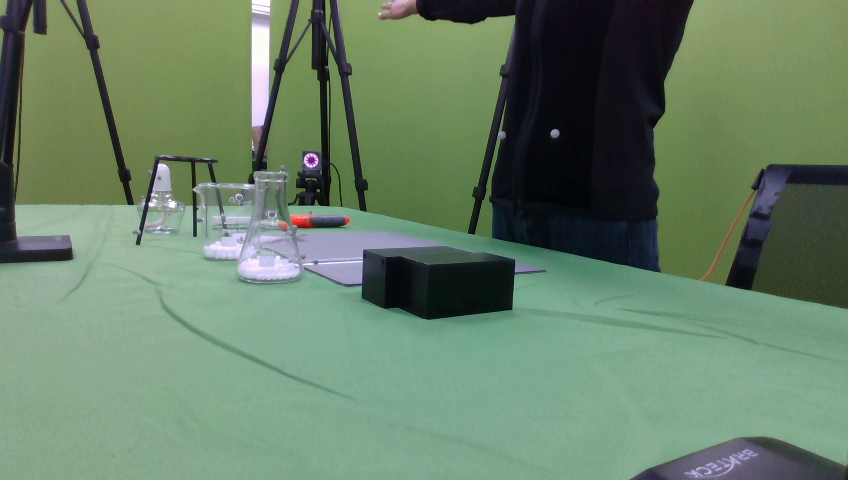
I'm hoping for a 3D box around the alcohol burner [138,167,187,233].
[{"bbox_3d":[-0.450,-0.070,1.044,0.078,0.119,0.078,5,7,0],"label":"alcohol burner"}]

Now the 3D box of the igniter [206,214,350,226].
[{"bbox_3d":[-0.279,-0.038,1.185,0.278,0.025,0.057,-2,-1,-30],"label":"igniter"}]

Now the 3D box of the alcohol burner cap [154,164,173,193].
[{"bbox_3d":[-0.450,-0.106,1.038,0.034,0.048,0.034,3,13,0],"label":"alcohol burner cap"}]

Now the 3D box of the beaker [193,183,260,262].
[{"bbox_3d":[-0.262,-0.025,0.806,0.084,0.100,0.073,-3,9,-30],"label":"beaker"}]

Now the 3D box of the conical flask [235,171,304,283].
[{"bbox_3d":[-0.172,-0.016,0.677,0.075,0.122,0.075,2,7,0],"label":"conical flask"}]

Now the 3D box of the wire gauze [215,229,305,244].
[{"bbox_3d":[-0.273,-0.009,1.013,0.122,0.011,0.124,-2,9,-33],"label":"wire gauze"}]

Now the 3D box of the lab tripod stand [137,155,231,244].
[{"bbox_3d":[-0.358,-0.062,0.927,0.148,0.131,0.148,4,6,0],"label":"lab tripod stand"}]

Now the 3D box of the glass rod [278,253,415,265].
[{"bbox_3d":[-0.097,0.024,0.805,0.201,0.008,0.008,-3,8,-33],"label":"glass rod"}]
